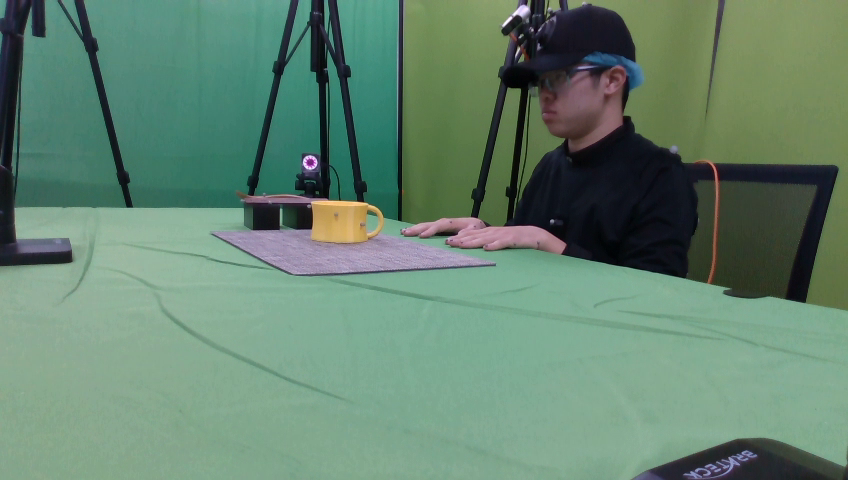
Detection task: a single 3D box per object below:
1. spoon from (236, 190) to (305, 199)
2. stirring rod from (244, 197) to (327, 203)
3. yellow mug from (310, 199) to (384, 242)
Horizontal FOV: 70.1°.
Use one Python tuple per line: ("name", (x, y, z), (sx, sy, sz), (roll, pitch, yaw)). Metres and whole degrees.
("spoon", (-0.290, -0.088, 1.248), (0.195, 0.021, 0.041), (0, 6, -31))
("stirring rod", (-0.271, -0.079, 1.201), (0.177, 0.006, 0.014), (-3, 46, -36))
("yellow mug", (-0.132, -0.035, 1.054), (0.131, 0.064, 0.099), (0, 8, -23))
